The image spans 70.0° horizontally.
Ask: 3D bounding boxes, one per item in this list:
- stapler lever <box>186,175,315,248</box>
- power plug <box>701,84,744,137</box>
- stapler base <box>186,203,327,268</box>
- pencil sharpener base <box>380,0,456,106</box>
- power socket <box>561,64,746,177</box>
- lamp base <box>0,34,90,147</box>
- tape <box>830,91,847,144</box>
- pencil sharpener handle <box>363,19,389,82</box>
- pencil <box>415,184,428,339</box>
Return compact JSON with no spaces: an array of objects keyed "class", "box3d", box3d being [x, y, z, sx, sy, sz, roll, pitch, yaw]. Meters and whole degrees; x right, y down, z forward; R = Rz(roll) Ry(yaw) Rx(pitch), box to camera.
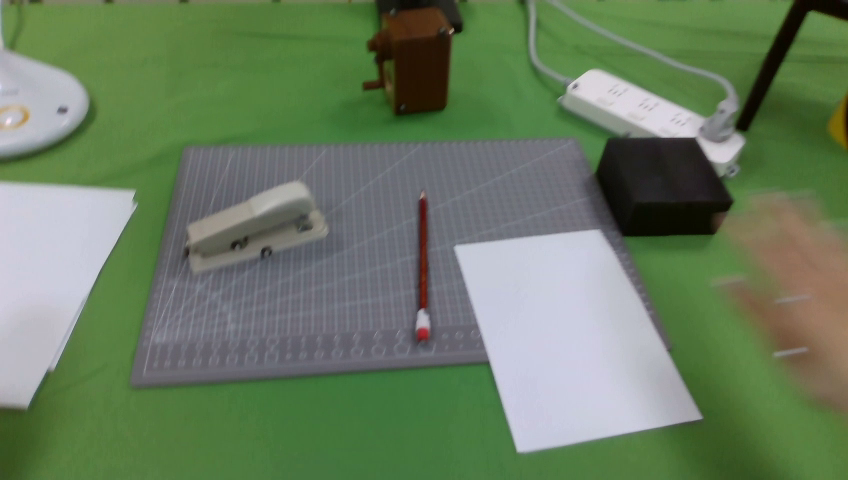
[{"class":"stapler lever","box3d":[-0.158,-0.027,0.554,0.118,0.040,0.026,-17,51,-18]},{"class":"power plug","box3d":[0.349,-0.140,0.695,0.072,0.053,0.035,-30,57,-26]},{"class":"stapler base","box3d":[-0.158,-0.012,0.573,0.131,0.024,0.041,-18,51,-18]},{"class":"pencil sharpener base","box3d":[-0.011,-0.220,0.716,0.077,0.108,0.060,-11,51,-14]},{"class":"power socket","box3d":[0.273,-0.147,0.727,0.225,0.033,0.072,35,54,24]},{"class":"lamp base","box3d":[-0.463,-0.215,0.623,0.161,0.182,0.177,-28,54,-26]},{"class":"tape","box3d":[0.571,-0.151,0.742,0.117,0.053,0.115,2,49,-2]},{"class":"pencil sharpener handle","box3d":[-0.057,-0.215,0.690,0.031,0.068,0.035,-11,28,-14]},{"class":"pencil","box3d":[-0.002,0.011,0.575,0.012,0.012,0.192,2,47,-3]}]
